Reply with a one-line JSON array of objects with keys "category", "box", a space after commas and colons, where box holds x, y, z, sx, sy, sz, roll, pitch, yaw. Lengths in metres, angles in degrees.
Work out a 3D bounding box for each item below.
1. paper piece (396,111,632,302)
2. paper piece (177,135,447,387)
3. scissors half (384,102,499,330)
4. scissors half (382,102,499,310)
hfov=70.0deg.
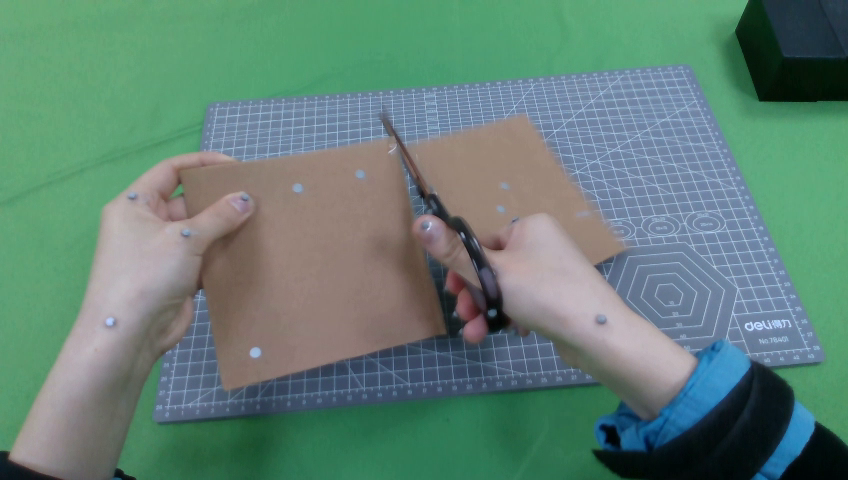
[{"category": "paper piece", "box": [0.068, -0.032, 0.439, 0.136, 0.004, 0.134, -20, 66, -30]}, {"category": "paper piece", "box": [-0.069, 0.006, 0.373, 0.138, 0.009, 0.135, -12, 75, -13]}, {"category": "scissors half", "box": [0.006, -0.022, 0.385, 0.013, 0.040, 0.174, -23, 70, -4]}, {"category": "scissors half", "box": [0.004, -0.031, 0.367, 0.013, 0.040, 0.173, -21, 52, -9]}]
